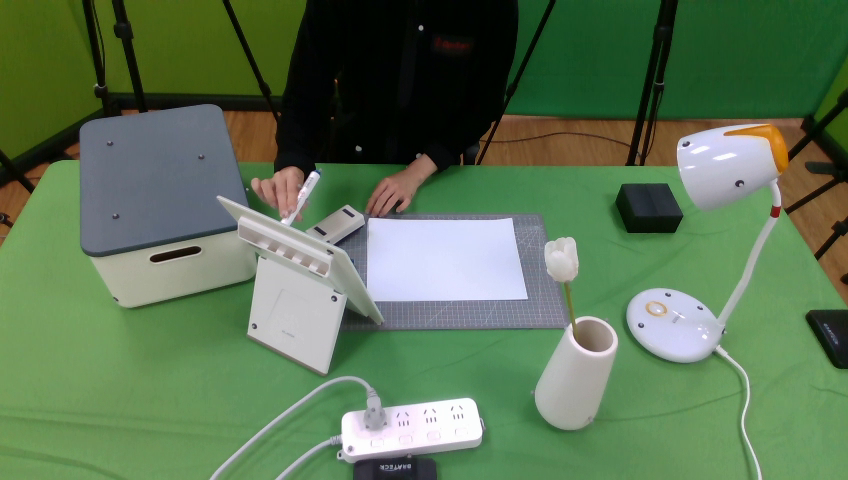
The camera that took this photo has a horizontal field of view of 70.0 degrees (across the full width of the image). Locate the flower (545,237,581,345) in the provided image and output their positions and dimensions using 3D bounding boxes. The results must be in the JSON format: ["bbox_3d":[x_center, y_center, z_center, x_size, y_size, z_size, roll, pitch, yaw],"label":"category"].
[{"bbox_3d":[0.213,0.137,0.846,0.038,0.364,0.044,21,55,39],"label":"flower"}]

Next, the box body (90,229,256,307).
[{"bbox_3d":[-0.471,-0.070,1.131,0.254,0.161,0.361,-14,49,-17],"label":"box body"}]

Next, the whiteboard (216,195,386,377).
[{"bbox_3d":[-0.212,0.093,0.939,0.216,0.307,0.143,24,70,17],"label":"whiteboard"}]

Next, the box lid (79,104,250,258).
[{"bbox_3d":[-0.467,-0.120,1.075,0.264,0.015,0.369,-13,49,-17],"label":"box lid"}]

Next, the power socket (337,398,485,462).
[{"bbox_3d":[-0.018,0.285,0.914,0.227,0.033,0.071,-4,46,-8],"label":"power socket"}]

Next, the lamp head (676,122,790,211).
[{"bbox_3d":[0.423,-0.104,0.819,0.122,0.113,0.112,-13,33,40],"label":"lamp head"}]

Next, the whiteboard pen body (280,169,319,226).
[{"bbox_3d":[-0.203,-0.057,0.961,0.017,0.017,0.140,18,62,13],"label":"whiteboard pen body"}]

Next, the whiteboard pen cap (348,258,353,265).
[{"bbox_3d":[-0.152,0.041,1.146,0.033,0.018,0.018,11,47,10],"label":"whiteboard pen cap"}]

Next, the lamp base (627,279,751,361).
[{"bbox_3d":[0.460,0.100,1.027,0.178,0.181,0.160,27,51,17],"label":"lamp base"}]

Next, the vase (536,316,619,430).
[{"bbox_3d":[0.229,0.200,0.901,0.098,0.201,0.097,3,46,-3],"label":"vase"}]

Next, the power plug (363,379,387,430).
[{"bbox_3d":[-0.072,0.252,0.911,0.035,0.053,0.072,3,40,0],"label":"power plug"}]

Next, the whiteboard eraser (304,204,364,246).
[{"bbox_3d":[-0.175,-0.022,1.188,0.055,0.042,0.112,36,53,26],"label":"whiteboard eraser"}]
